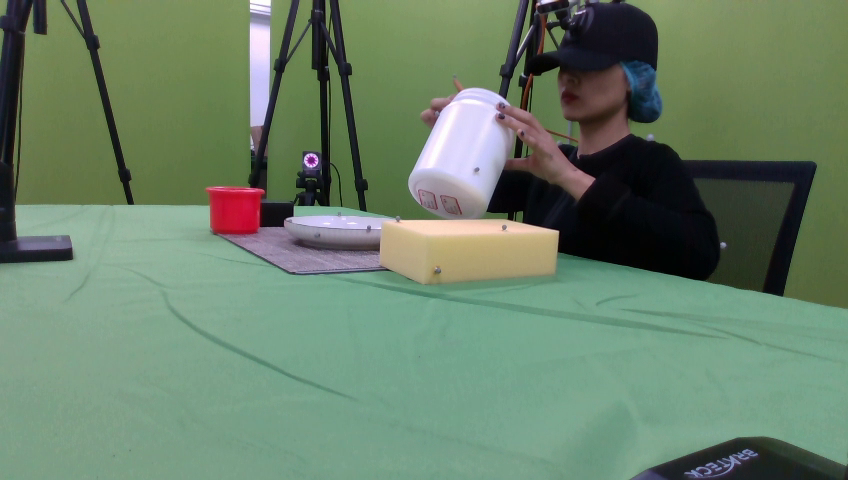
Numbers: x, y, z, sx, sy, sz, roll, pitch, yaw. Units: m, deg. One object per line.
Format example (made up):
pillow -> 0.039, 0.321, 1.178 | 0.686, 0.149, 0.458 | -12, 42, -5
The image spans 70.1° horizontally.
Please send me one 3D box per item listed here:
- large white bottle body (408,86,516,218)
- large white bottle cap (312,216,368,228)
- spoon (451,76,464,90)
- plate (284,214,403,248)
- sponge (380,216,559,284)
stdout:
large white bottle body -> 0.066, -0.140, 0.956 | 0.130, 0.184, 0.130 | 20, -24, 9
large white bottle cap -> -0.171, -0.038, 1.234 | 0.115, 0.018, 0.115 | 2, 5, 0
spoon -> 0.088, -0.214, 1.029 | 0.021, 0.193, 0.042 | -24, -29, 5
plate -> -0.122, -0.015, 0.984 | 0.209, 0.038, 0.209 | 2, 7, 0
sponge -> 0.059, 0.008, 0.786 | 0.208, 0.061, 0.117 | -3, 11, -32
